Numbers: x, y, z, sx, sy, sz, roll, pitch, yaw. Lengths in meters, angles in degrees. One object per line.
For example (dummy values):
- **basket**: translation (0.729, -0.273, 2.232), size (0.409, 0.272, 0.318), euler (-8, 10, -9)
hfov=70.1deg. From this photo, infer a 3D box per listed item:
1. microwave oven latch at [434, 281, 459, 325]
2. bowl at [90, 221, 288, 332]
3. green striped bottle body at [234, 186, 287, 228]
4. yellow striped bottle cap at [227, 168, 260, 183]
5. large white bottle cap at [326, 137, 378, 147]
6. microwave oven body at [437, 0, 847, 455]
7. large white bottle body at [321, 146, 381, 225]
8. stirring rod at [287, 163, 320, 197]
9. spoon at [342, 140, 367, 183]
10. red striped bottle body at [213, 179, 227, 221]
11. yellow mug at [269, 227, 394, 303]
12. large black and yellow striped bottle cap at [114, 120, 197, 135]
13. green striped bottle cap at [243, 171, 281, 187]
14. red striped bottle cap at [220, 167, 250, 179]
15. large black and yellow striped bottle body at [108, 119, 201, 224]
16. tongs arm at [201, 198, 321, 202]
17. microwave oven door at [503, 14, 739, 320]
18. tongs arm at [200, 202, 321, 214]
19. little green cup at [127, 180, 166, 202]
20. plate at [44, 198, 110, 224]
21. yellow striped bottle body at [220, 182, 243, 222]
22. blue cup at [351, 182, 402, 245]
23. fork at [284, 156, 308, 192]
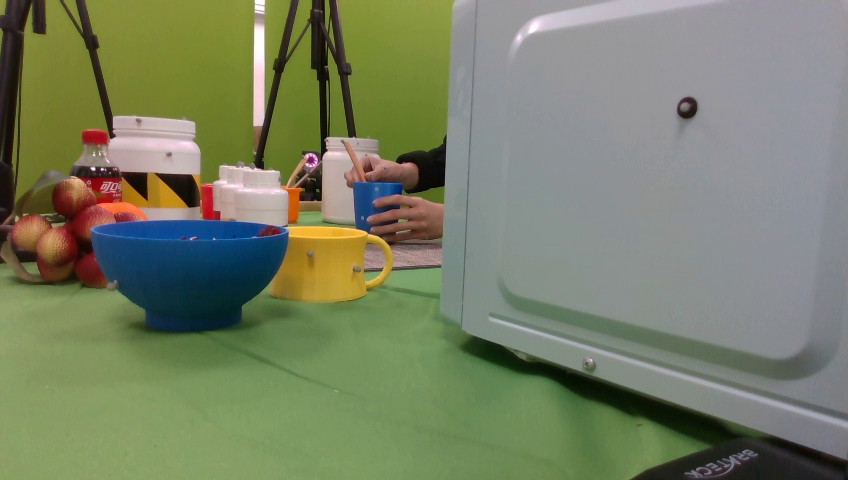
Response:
- **microwave oven latch**: translation (0.044, 0.045, 0.470), size (0.079, 0.029, 0.030), euler (-2, 8, -39)
- **bowl**: translation (-0.190, 0.029, 0.500), size (0.151, 0.077, 0.151), euler (3, 7, 0)
- **green striped bottle body**: translation (-0.201, -0.023, 0.743), size (0.063, 0.119, 0.063), euler (2, 7, 0)
- **yellow striped bottle cap**: translation (-0.243, -0.087, 0.818), size (0.044, 0.018, 0.044), euler (3, 6, 0)
- **large white bottle cap**: translation (-0.158, -0.214, 1.329), size (0.115, 0.018, 0.115), euler (2, 8, 0)
- **microwave oven body**: translation (0.279, -0.040, 0.465), size (0.444, 0.260, 0.324), euler (-3, 9, -41)
- **large white bottle body**: translation (-0.162, -0.131, 1.340), size (0.131, 0.184, 0.130), euler (2, 8, 0)
- **stirring rod**: translation (-0.283, -0.107, 1.298), size (0.014, 0.006, 0.176), euler (10, 53, 50)
- **spoon**: translation (-0.101, -0.089, 1.030), size (0.021, 0.193, 0.042), euler (-31, -19, 36)
- **red striped bottle body**: translation (-0.284, -0.048, 0.910), size (0.063, 0.119, 0.063), euler (3, 12, 0)
- **yellow mug**: translation (-0.094, 0.023, 0.629), size (0.131, 0.064, 0.099), euler (0, 7, -22)
- **large black and yellow striped bottle cap**: translation (-0.407, -0.171, 0.920), size (0.115, 0.019, 0.115), euler (2, 9, 0)
- **green striped bottle cap**: translation (-0.198, -0.074, 0.736), size (0.044, 0.020, 0.044), euler (1, 8, 0)
- **red striped bottle cap**: translation (-0.281, -0.100, 0.901), size (0.044, 0.017, 0.044), euler (-1, 5, 0)
- **large black and yellow striped bottle body**: translation (-0.412, -0.088, 0.930), size (0.131, 0.184, 0.130), euler (3, 7, 0)
- **tongs arm**: translation (-0.433, -0.090, 1.508), size (0.390, 0.028, 0.028), euler (-1, 2, -29)
- **microwave oven door**: translation (0.218, -0.065, 0.600), size (0.358, 0.243, 0.039), euler (-4, 10, -41)
- **tongs arm**: translation (-0.378, -0.079, 1.440), size (0.387, 0.026, 0.050), euler (-4, 8, -44)
- **little green cup**: translation (-0.485, -0.086, 1.061), size (0.061, 0.038, 0.061), euler (1, 7, 0)
- **plate**: translation (-0.617, -0.056, 1.179), size (0.209, 0.038, 0.209), euler (3, 7, 0)
- **yellow striped bottle body**: translation (-0.245, -0.036, 0.825), size (0.063, 0.120, 0.063), euler (3, 8, 0)
- **blue cup**: translation (-0.083, -0.044, 1.013), size (0.093, 0.100, 0.092), euler (4, 4, 0)
- **fork**: translation (-0.295, -0.116, 1.323), size (0.028, 0.019, 0.207), euler (1, 50, 21)
